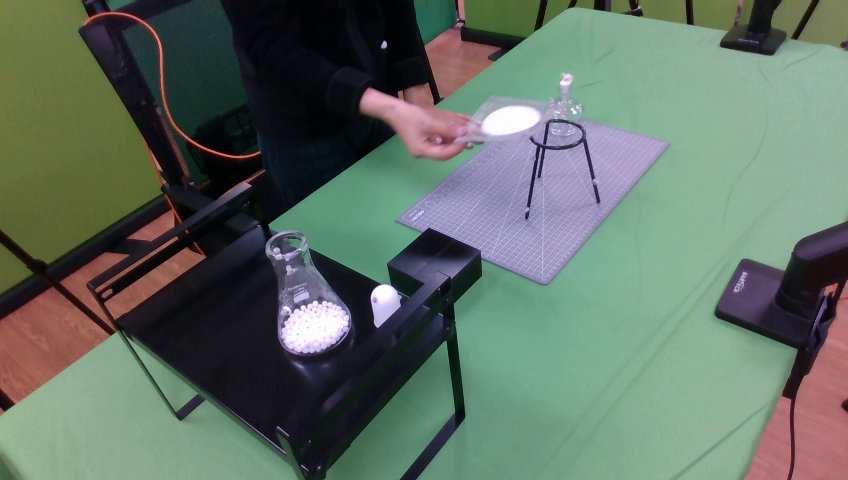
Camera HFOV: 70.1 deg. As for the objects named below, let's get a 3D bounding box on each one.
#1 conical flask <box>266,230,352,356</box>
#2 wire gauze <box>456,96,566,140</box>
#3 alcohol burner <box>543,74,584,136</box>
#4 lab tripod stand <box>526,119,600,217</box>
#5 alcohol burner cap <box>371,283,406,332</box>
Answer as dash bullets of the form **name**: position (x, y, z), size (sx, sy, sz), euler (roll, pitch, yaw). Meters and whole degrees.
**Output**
- **conical flask**: position (-0.117, 0.047, 0.580), size (0.075, 0.122, 0.075), euler (-5, 40, 4)
- **wire gauze**: position (0.127, -0.178, 0.885), size (0.120, 0.011, 0.125), euler (13, 44, 32)
- **alcohol burner**: position (0.270, -0.263, 1.169), size (0.078, 0.119, 0.077), euler (-6, 39, 5)
- **lab tripod stand**: position (0.220, -0.122, 0.995), size (0.148, 0.132, 0.147), euler (-3, 39, 3)
- **alcohol burner cap**: position (-0.037, 0.065, 0.608), size (0.034, 0.048, 0.033), euler (-5, 39, 5)
